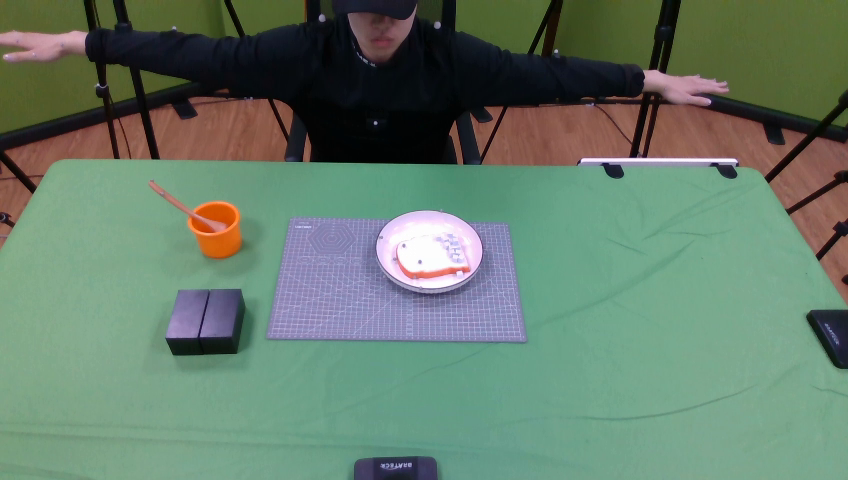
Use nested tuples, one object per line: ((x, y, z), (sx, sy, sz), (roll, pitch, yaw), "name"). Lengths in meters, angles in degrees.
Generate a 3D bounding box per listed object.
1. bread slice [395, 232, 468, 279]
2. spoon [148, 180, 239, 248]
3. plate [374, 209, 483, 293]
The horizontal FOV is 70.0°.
((0.011, 0.030, 1.158), (0.132, 0.019, 0.104), (-8, 47, -14), "bread slice")
((-0.421, -0.047, 1.115), (0.194, 0.021, 0.041), (36, 42, -25), "spoon")
((0.009, 0.024, 1.160), (0.209, 0.038, 0.208), (2, 46, -2), "plate")
